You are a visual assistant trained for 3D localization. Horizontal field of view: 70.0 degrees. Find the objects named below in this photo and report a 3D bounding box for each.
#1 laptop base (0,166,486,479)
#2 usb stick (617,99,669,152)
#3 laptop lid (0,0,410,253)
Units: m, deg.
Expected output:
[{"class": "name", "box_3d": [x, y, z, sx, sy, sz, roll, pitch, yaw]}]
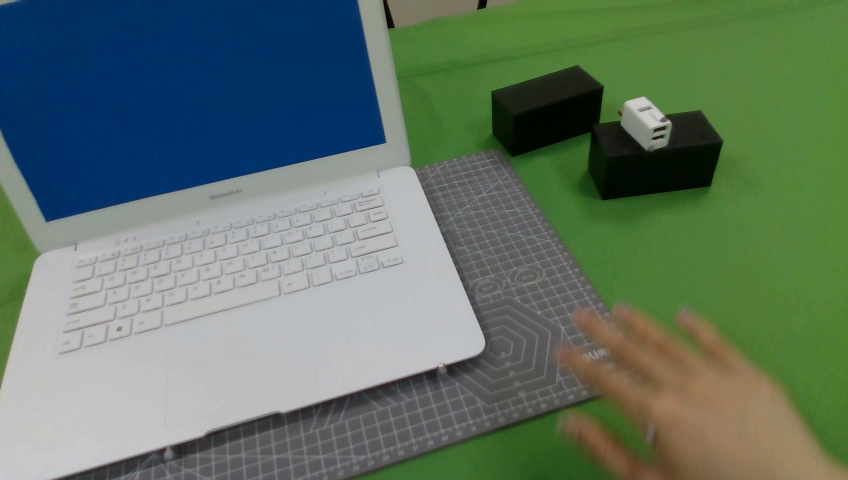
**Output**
[{"class": "laptop base", "box_3d": [-0.150, 0.051, 0.496, 0.355, 0.023, 0.233, -15, 47, -7]}, {"class": "usb stick", "box_3d": [0.190, -0.105, 0.534, 0.021, 0.027, 0.058, -17, 42, -7]}, {"class": "laptop lid", "box_3d": [-0.200, -0.127, 0.521, 0.357, 0.244, 0.013, -16, 30, -7]}]
